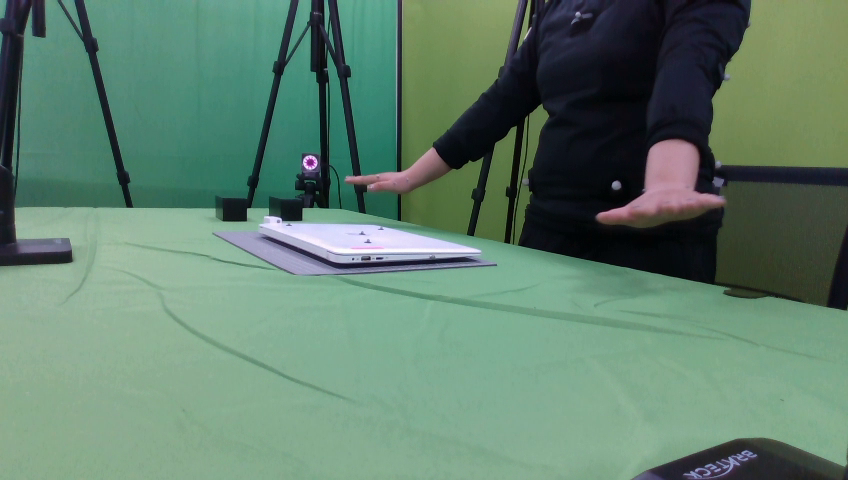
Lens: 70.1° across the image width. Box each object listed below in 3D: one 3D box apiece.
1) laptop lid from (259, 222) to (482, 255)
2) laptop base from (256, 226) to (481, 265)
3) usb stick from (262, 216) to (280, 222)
[{"bbox_3d":[-0.100,-0.005,0.961,0.243,0.013,0.355,1,7,-30],"label":"laptop lid"},{"bbox_3d":[-0.103,0.007,0.961,0.237,0.023,0.352,2,6,-32],"label":"laptop base"},{"bbox_3d":[-0.271,-0.028,1.079,0.021,0.027,0.059,-1,10,-29],"label":"usb stick"}]
